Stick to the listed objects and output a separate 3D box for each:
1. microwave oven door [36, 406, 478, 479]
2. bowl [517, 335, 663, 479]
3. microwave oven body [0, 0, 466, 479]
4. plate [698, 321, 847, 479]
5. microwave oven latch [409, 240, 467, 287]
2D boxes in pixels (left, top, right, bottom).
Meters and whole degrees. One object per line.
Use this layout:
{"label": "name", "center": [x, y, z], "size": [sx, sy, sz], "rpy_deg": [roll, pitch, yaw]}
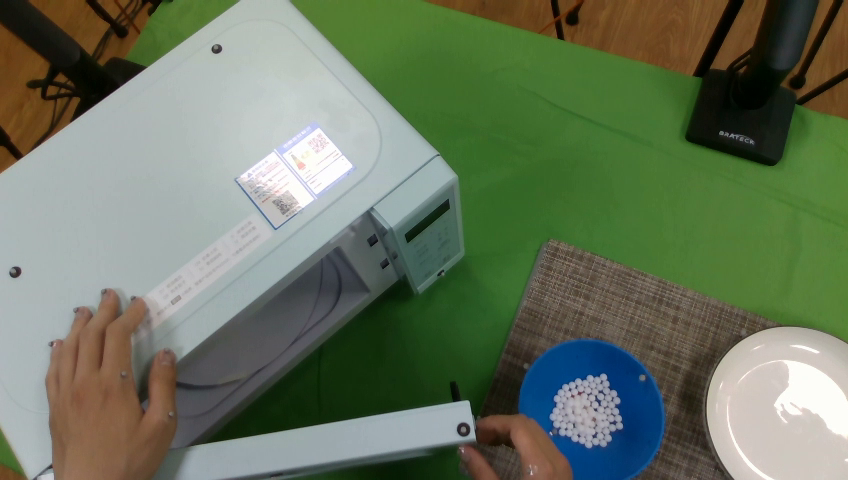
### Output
{"label": "microwave oven door", "center": [-0.126, 0.204, 0.587], "size": [0.356, 0.245, 0.039], "rpy_deg": [-10, 71, 1]}
{"label": "bowl", "center": [0.176, 0.185, 0.668], "size": [0.151, 0.077, 0.150], "rpy_deg": [-2, 71, 5]}
{"label": "microwave oven body", "center": [-0.223, -0.001, 0.669], "size": [0.441, 0.262, 0.324], "rpy_deg": [-40, 73, -8]}
{"label": "plate", "center": [0.406, 0.194, 0.666], "size": [0.207, 0.039, 0.206], "rpy_deg": [-1, 72, 5]}
{"label": "microwave oven latch", "center": [0.016, 0.022, 0.743], "size": [0.079, 0.030, 0.030], "rpy_deg": [-38, 73, -7]}
